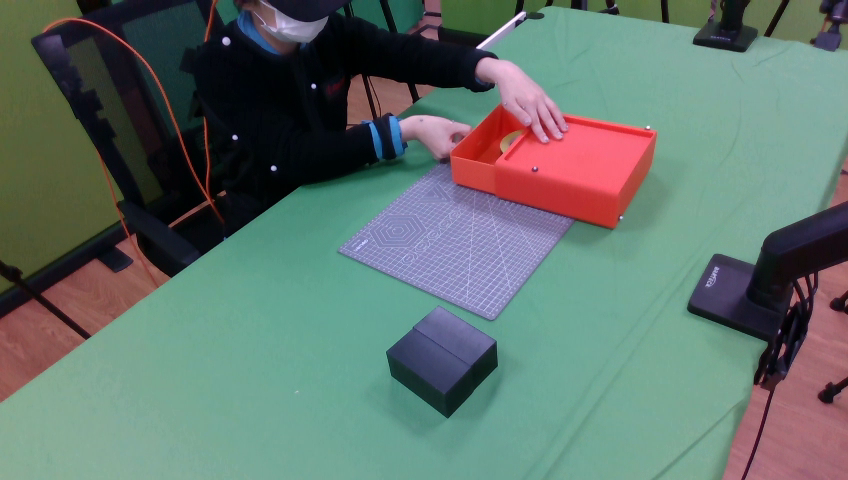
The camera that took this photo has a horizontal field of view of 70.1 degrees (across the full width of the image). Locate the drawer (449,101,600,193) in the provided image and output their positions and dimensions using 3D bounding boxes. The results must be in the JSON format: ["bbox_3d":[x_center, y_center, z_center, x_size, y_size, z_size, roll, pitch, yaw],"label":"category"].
[{"bbox_3d":[0.182,-0.156,1.073,0.210,0.073,0.195,19,46,28],"label":"drawer"}]

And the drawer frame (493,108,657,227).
[{"bbox_3d":[0.258,-0.130,1.032,0.212,0.083,0.202,18,46,26],"label":"drawer frame"}]

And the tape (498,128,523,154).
[{"bbox_3d":[0.189,-0.151,1.077,0.117,0.053,0.116,-5,40,4],"label":"tape"}]
